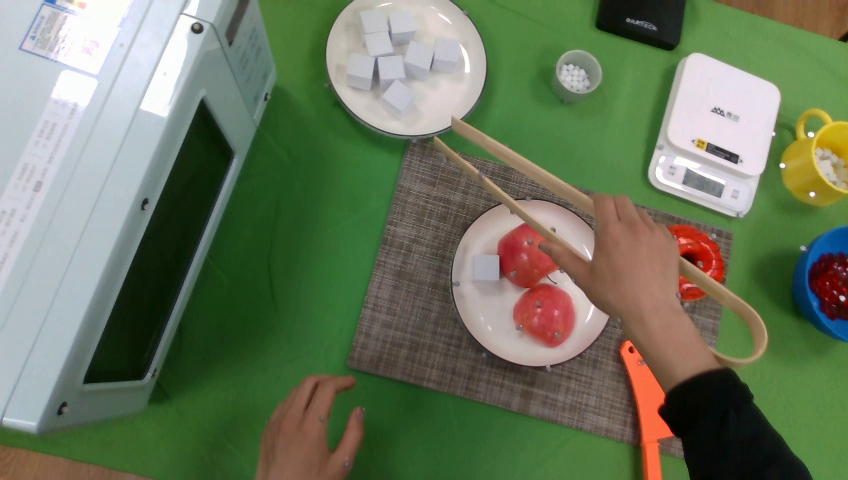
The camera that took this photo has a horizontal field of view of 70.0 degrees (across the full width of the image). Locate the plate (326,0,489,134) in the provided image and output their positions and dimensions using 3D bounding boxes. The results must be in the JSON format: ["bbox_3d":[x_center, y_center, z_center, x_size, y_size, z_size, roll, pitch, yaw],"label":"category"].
[{"bbox_3d":[-0.021,-0.233,0.784,0.208,0.039,0.207,1,80,-7],"label":"plate"}]

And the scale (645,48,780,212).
[{"bbox_3d":[0.394,-0.151,0.826,0.149,0.031,0.200,20,79,-3],"label":"scale"}]

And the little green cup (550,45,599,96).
[{"bbox_3d":[0.199,-0.224,0.811,0.061,0.039,0.061,1,79,-7],"label":"little green cup"}]

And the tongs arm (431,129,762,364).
[{"bbox_3d":[0.158,-0.007,0.612,0.050,0.027,0.382,-42,71,-15],"label":"tongs arm"}]

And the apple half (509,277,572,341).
[{"bbox_3d":[0.147,0.081,0.740,0.081,0.033,0.081,1,80,-4],"label":"apple half"}]

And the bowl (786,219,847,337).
[{"bbox_3d":[0.529,0.053,0.784,0.151,0.077,0.151,1,80,-6],"label":"bowl"}]

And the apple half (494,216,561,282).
[{"bbox_3d":[0.130,0.007,0.742,0.081,0.053,0.074,-28,81,-12],"label":"apple half"}]

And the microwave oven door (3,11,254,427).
[{"bbox_3d":[-0.262,-0.008,0.591,0.039,0.244,0.354,18,78,-3],"label":"microwave oven door"}]

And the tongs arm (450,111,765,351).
[{"bbox_3d":[0.172,-0.022,0.618,0.385,0.028,0.028,38,70,17],"label":"tongs arm"}]

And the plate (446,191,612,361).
[{"bbox_3d":[0.128,0.044,0.751,0.209,0.038,0.208,1,80,-7],"label":"plate"}]

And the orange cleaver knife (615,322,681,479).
[{"bbox_3d":[0.283,0.208,0.751,0.077,0.012,0.210,-1,79,-12],"label":"orange cleaver knife"}]

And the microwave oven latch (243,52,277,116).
[{"bbox_3d":[-0.204,-0.193,0.735,0.030,0.029,0.079,21,79,-3],"label":"microwave oven latch"}]

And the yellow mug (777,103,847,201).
[{"bbox_3d":[0.541,-0.125,0.822,0.100,0.064,0.130,-16,82,-9],"label":"yellow mug"}]

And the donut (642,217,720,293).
[{"bbox_3d":[0.328,0.020,0.777,0.099,0.048,0.098,1,79,-5],"label":"donut"}]

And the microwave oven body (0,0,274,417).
[{"bbox_3d":[-0.387,-0.093,0.595,0.326,0.260,0.440,19,79,-4],"label":"microwave oven body"}]
